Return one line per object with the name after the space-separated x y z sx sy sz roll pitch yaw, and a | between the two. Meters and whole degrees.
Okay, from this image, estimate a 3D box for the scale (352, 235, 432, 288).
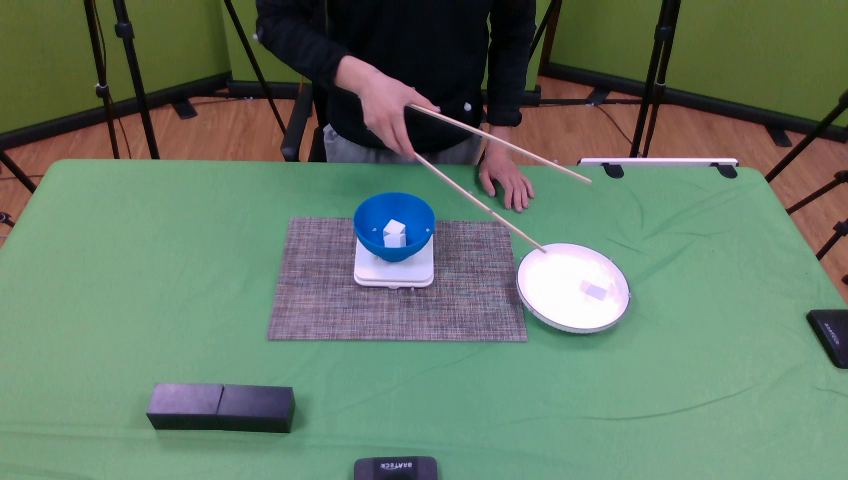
-0.060 0.010 1.171 0.149 0.032 0.199 2 46 -3 | scale

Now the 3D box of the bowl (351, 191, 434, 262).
-0.057 -0.013 1.119 0.151 0.077 0.150 2 46 -1 | bowl

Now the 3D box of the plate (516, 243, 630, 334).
0.272 0.092 1.120 0.208 0.039 0.206 2 46 -2 | plate

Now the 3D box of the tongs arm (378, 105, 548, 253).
0.067 -0.108 1.047 0.384 0.026 0.051 36 91 11 | tongs arm

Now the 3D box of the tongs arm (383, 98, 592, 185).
0.107 -0.172 1.050 0.387 0.028 0.028 24 92 10 | tongs arm
